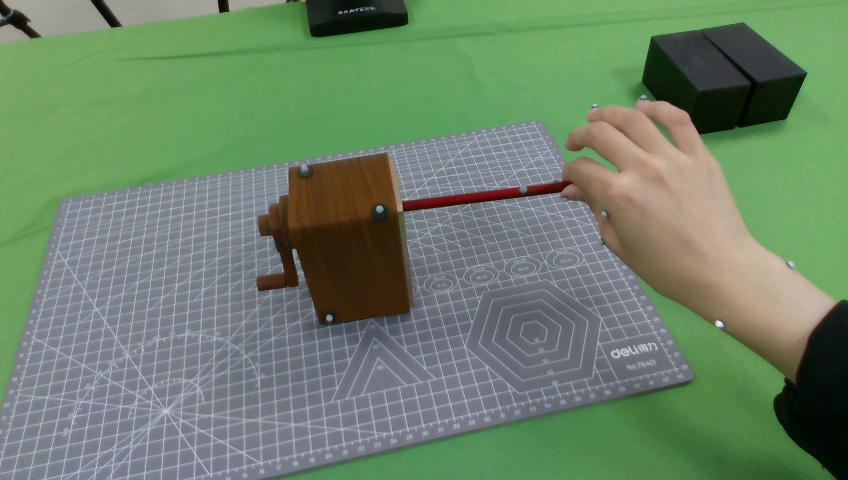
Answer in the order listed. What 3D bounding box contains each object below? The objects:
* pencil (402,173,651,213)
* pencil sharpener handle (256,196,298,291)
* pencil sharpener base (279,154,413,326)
[{"bbox_3d":[0.055,-0.030,0.404,0.194,0.012,0.012,-7,46,-2],"label":"pencil"},{"bbox_3d":[-0.102,0.005,0.401,0.031,0.068,0.035,-9,31,-4],"label":"pencil sharpener handle"},{"bbox_3d":[-0.051,0.003,0.418,0.077,0.108,0.060,-9,47,-4],"label":"pencil sharpener base"}]
